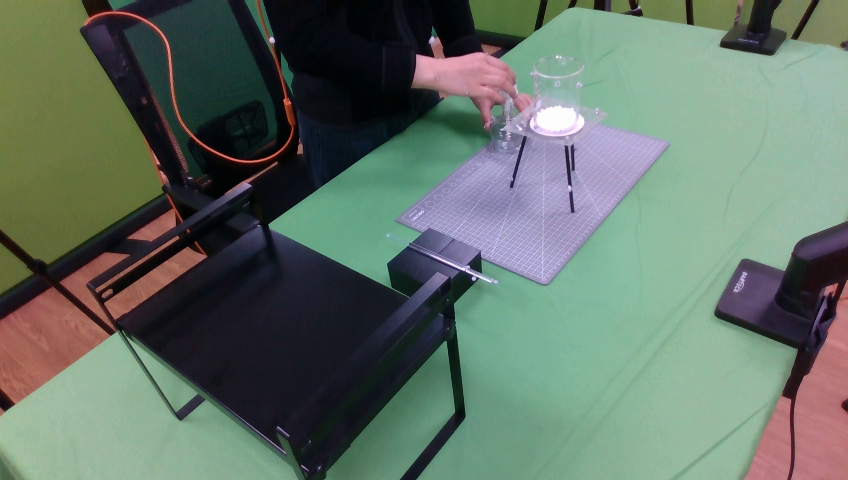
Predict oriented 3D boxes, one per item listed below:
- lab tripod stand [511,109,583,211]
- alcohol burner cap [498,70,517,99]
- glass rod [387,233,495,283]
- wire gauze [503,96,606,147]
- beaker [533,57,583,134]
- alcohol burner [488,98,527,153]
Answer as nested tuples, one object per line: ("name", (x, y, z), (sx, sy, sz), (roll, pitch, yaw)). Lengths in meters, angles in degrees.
("lab tripod stand", (0.220, -0.138, 1.014), (0.148, 0.132, 0.147), (-3, 41, 3))
("alcohol burner cap", (0.150, -0.283, 1.094), (0.034, 0.048, 0.033), (-5, 39, 5))
("glass rod", (0.020, 0.025, 0.880), (0.198, 0.008, 0.008), (23, 49, 32))
("wire gauze", (0.212, -0.191, 0.976), (0.120, 0.011, 0.125), (24, 51, 32))
("beaker", (0.208, -0.225, 0.941), (0.073, 0.101, 0.084), (10, 44, 20))
("alcohol burner", (0.159, -0.226, 1.143), (0.078, 0.119, 0.077), (-6, 40, 6))
